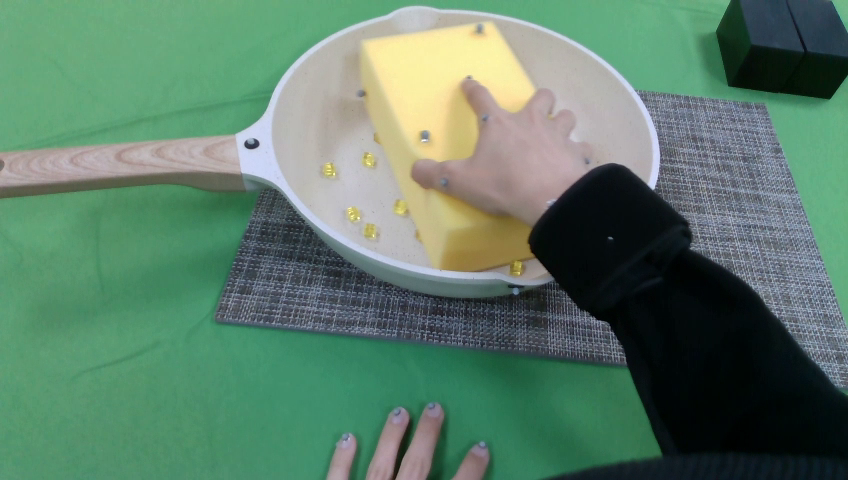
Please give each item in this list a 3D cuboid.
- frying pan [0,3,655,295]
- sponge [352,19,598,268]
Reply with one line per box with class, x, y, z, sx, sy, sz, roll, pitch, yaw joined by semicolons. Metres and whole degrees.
frying pan;-0.073;-0.066;0.443;0.490;0.103;0.303;-5;52;-18
sponge;0.029;-0.082;0.476;0.118;0.061;0.204;-15;57;-15
